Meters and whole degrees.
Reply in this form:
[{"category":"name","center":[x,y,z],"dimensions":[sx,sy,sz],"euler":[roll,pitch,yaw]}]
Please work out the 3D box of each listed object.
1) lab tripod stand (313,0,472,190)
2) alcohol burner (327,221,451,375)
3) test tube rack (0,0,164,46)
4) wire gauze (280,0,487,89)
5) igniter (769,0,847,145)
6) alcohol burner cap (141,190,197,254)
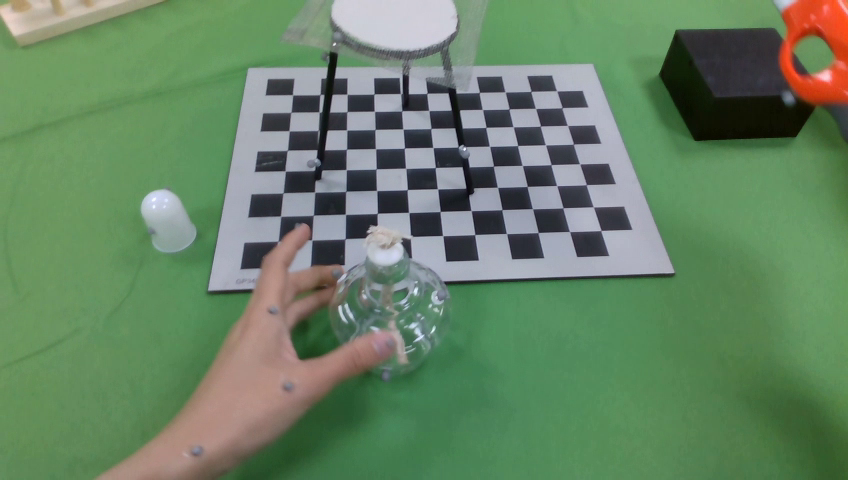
[{"category":"lab tripod stand","center":[-0.019,-0.114,0.467],"dimensions":[0.148,0.132,0.147],"euler":[3,51,-3]},{"category":"alcohol burner","center":[-0.022,0.033,0.370],"dimensions":[0.078,0.120,0.077],"euler":[0,51,0]},{"category":"test tube rack","center":[-0.324,-0.294,0.630],"dimensions":[0.242,0.086,0.066],"euler":[-31,60,-24]},{"category":"wire gauze","center":[-0.020,-0.154,0.412],"dimensions":[0.125,0.011,0.120],"euler":[12,52,5]},{"category":"igniter","center":[0.229,-0.131,0.356],"dimensions":[0.025,0.057,0.274],"euler":[2,62,-51]},{"category":"alcohol burner cap","center":[-0.190,-0.016,0.446],"dimensions":[0.034,0.048,0.033],"euler":[2,52,-2]}]
